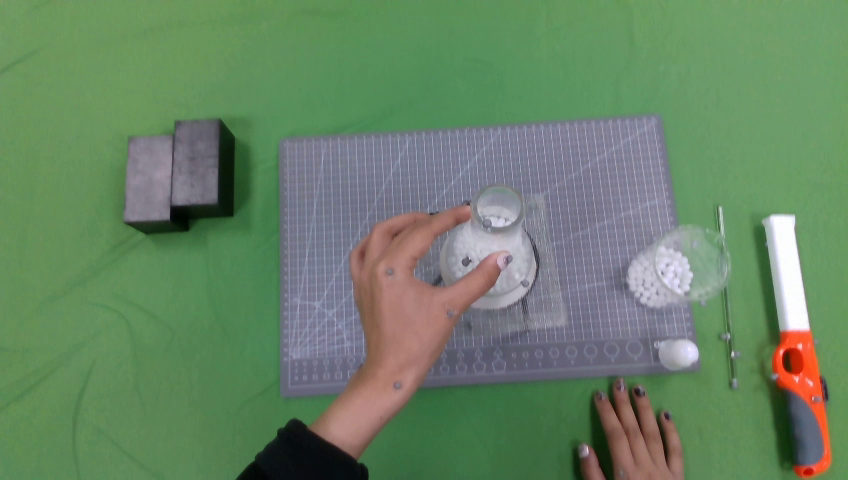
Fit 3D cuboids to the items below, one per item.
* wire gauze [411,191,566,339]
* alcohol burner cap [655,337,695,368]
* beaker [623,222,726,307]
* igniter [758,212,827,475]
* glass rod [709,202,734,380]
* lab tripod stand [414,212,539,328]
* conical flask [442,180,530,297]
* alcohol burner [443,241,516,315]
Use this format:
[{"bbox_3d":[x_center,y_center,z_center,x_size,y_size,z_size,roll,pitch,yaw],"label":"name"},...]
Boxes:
[{"bbox_3d":[0.056,0.022,0.542,0.125,0.011,0.121,-7,78,-1],"label":"wire gauze"},{"bbox_3d":[0.266,0.116,0.634,0.034,0.048,0.033,0,77,2],"label":"alcohol burner cap"},{"bbox_3d":[0.254,0.028,0.625,0.084,0.100,0.073,-40,79,-8],"label":"beaker"},{"bbox_3d":[0.391,0.105,0.645,0.057,0.025,0.275,1,78,-9],"label":"igniter"},{"bbox_3d":[0.329,0.053,0.669,0.008,0.008,0.198,0,77,1],"label":"glass rod"},{"bbox_3d":[0.057,0.035,0.608,0.148,0.132,0.147,0,79,2],"label":"lab tripod stand"},{"bbox_3d":[0.050,-0.005,0.466,0.075,0.122,0.075,0,71,2],"label":"conical flask"},{"bbox_3d":[0.057,0.035,0.618,0.078,0.120,0.077,-1,75,2],"label":"alcohol burner"}]
